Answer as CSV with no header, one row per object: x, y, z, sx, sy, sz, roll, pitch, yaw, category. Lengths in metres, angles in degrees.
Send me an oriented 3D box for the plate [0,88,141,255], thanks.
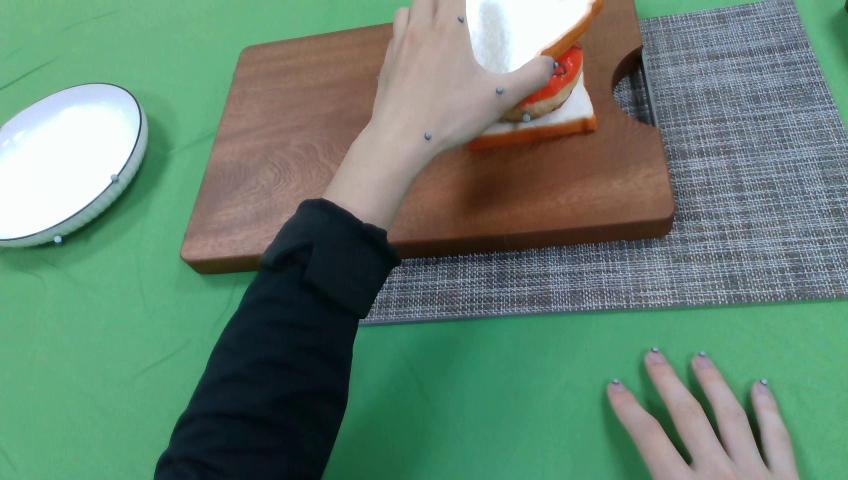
-0.386,-0.071,0.630,0.209,0.038,0.207,-7,57,11,plate

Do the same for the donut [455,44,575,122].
0.073,-0.139,0.492,0.099,0.049,0.098,-8,57,12,donut

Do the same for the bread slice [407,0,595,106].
0.065,-0.166,0.471,0.106,0.018,0.134,30,70,30,bread slice

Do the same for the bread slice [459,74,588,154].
0.078,-0.135,0.526,0.105,0.019,0.130,-8,58,9,bread slice
